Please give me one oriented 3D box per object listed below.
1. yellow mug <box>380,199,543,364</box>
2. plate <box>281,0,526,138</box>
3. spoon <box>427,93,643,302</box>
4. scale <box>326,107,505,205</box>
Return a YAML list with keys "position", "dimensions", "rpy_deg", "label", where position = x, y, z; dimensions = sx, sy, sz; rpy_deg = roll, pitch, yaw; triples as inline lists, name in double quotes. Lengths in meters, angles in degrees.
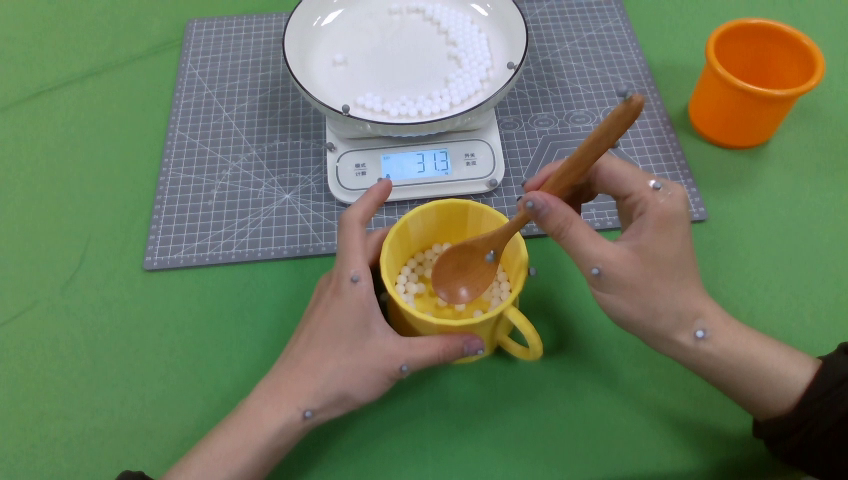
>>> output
- position: [0.032, 0.039, 0.424]
  dimensions: [0.130, 0.064, 0.100]
  rpy_deg: [40, 68, 22]
  label: "yellow mug"
- position: [-0.017, -0.165, 0.528]
  dimensions: [0.209, 0.038, 0.207]
  rpy_deg: [0, 58, 0]
  label: "plate"
- position: [0.061, -0.017, 0.368]
  dimensions: [0.041, 0.194, 0.021]
  rpy_deg: [40, 44, -3]
  label: "spoon"
- position: [-0.014, -0.123, 0.540]
  dimensions: [0.149, 0.032, 0.199]
  rpy_deg: [-6, 59, -1]
  label: "scale"
